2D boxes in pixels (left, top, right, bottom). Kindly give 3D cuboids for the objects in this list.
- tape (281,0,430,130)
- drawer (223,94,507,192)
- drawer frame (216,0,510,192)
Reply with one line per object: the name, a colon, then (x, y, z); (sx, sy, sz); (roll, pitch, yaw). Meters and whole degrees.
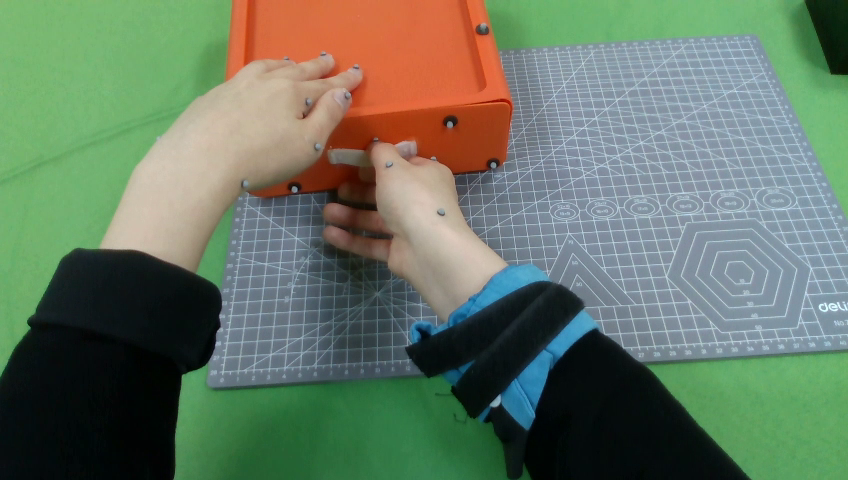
tape: (-0.053, -0.149, 0.494); (0.117, 0.053, 0.116); (-1, 59, 2)
drawer: (-0.050, -0.149, 0.485); (0.194, 0.074, 0.209); (-8, 58, -1)
drawer frame: (-0.051, -0.152, 0.486); (0.202, 0.083, 0.211); (-8, 58, -2)
